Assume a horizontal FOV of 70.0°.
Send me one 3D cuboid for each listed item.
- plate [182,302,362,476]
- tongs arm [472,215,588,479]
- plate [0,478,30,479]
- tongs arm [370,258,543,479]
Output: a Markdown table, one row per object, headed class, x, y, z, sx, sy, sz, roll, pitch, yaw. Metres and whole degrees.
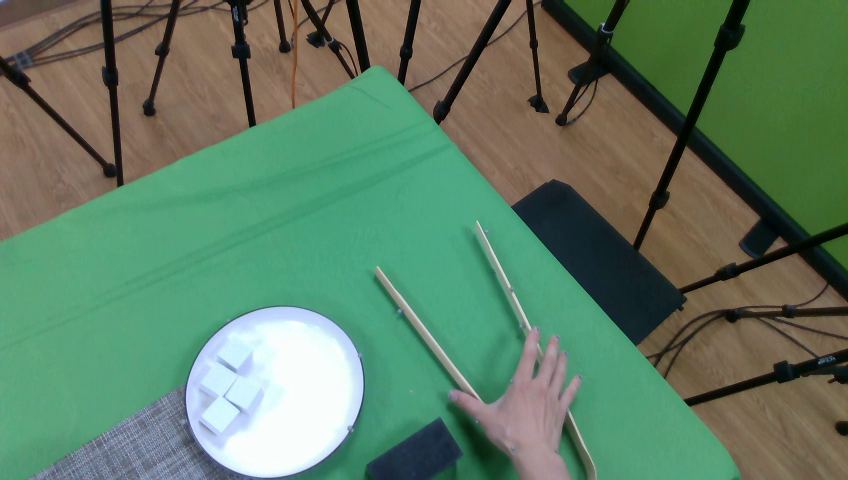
| class | x | y | z | sx | sy | sz | roll | pitch | yaw |
| --- | --- | --- | --- | --- | --- | --- | --- | --- | --- |
| plate | -0.179 | 0.178 | 0.734 | 0.208 | 0.039 | 0.206 | 4 | 62 | -7 |
| tongs arm | 0.125 | 0.136 | 0.804 | 0.051 | 0.027 | 0.381 | -18 | 68 | -17 |
| plate | -0.414 | 0.336 | 0.573 | 0.209 | 0.038 | 0.207 | 4 | 61 | -7 |
| tongs arm | 0.048 | 0.170 | 0.778 | 0.028 | 0.028 | 0.385 | -32 | 72 | -26 |
